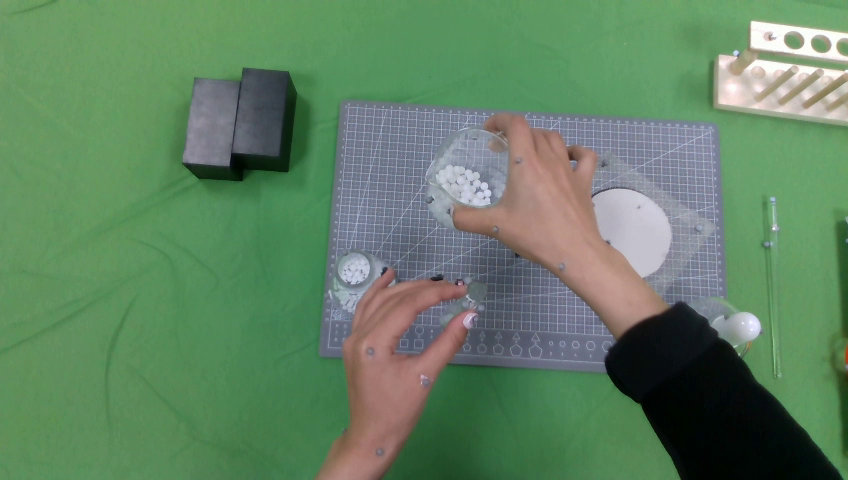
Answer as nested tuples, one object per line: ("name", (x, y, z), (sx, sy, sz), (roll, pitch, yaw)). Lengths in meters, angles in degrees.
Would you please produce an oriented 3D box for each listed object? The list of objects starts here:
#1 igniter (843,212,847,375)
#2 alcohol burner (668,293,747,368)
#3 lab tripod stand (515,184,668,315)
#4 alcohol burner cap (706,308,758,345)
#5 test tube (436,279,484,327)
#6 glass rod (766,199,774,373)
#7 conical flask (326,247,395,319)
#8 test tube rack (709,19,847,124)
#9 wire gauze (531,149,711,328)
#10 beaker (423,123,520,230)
("igniter", (0.489, 0.102, 0.671), (0.057, 0.025, 0.275), (8, 78, -11))
("alcohol burner", (0.298, 0.091, 0.619), (0.078, 0.119, 0.077), (0, 77, 1))
("lab tripod stand", (0.176, 0.006, 0.622), (0.148, 0.132, 0.148), (0, 79, 0))
("alcohol burner cap", (0.300, 0.081, 0.584), (0.034, 0.048, 0.033), (2, 71, -5))
("test tube", (0.027, 0.054, 0.494), (0.017, 0.150, 0.017), (2, 74, -6))
("glass rod", (0.393, 0.050, 0.688), (0.008, 0.008, 0.199), (5, 81, -1))
("conical flask", (-0.067, 0.038, 0.612), (0.075, 0.122, 0.075), (0, 78, -2))
("test tube rack", (0.470, -0.188, 0.700), (0.242, 0.085, 0.066), (7, 78, 0))
("wire gauze", (0.180, -0.005, 0.556), (0.125, 0.011, 0.121), (40, 81, 6))
("beaker", (0.036, -0.052, 0.555), (0.084, 0.100, 0.073), (-13, 80, -9))
